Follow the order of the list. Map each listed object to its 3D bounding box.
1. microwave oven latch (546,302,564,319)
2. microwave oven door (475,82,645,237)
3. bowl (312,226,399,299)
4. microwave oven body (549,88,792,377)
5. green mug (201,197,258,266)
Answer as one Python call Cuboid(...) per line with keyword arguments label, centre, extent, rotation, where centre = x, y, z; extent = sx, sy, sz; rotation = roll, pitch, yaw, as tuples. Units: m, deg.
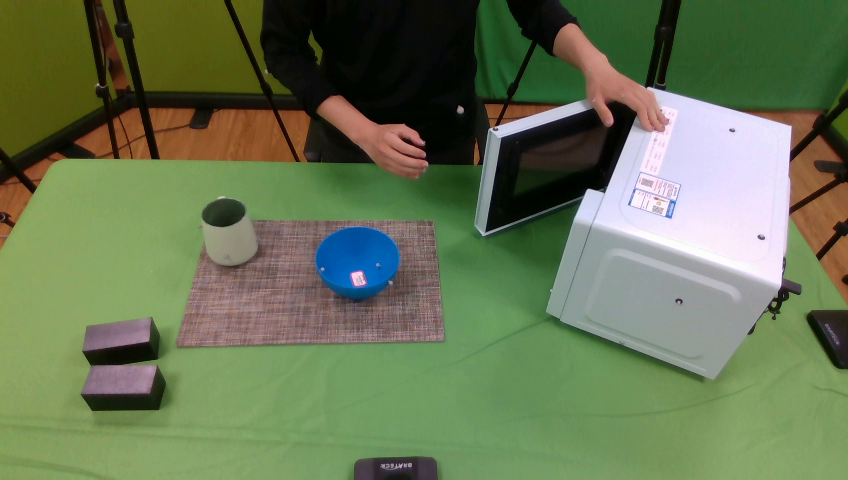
Cuboid(label="microwave oven latch", centre=(0.242, 0.102, 1.081), extent=(0.030, 0.029, 0.079), rotation=(22, 48, 17))
Cuboid(label="microwave oven door", centre=(0.268, -0.160, 1.193), extent=(0.356, 0.245, 0.039), rotation=(-21, 50, -22))
Cuboid(label="bowl", centre=(-0.120, 0.054, 1.091), extent=(0.151, 0.077, 0.150), rotation=(2, 46, -2))
Cuboid(label="microwave oven body", centre=(0.456, -0.028, 1.088), extent=(0.325, 0.261, 0.440), rotation=(20, 47, 16))
Cuboid(label="green mug", centre=(-0.366, -0.025, 1.130), extent=(0.092, 0.105, 0.124), rotation=(-13, 48, -16))
